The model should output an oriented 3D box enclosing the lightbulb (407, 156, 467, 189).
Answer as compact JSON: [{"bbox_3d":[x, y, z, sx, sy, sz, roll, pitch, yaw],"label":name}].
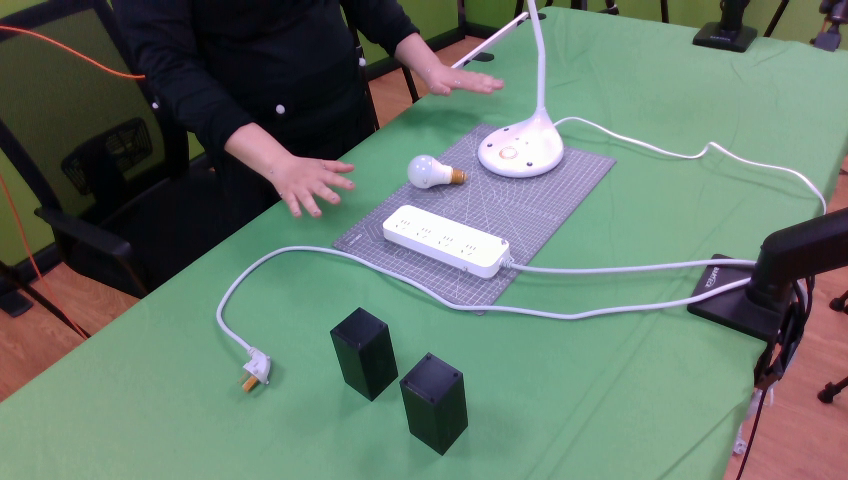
[{"bbox_3d":[0.024,-0.118,1.080,0.108,0.059,0.059,7,40,-6],"label":"lightbulb"}]

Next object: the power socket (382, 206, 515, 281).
[{"bbox_3d":[0.032,0.002,0.950,0.225,0.033,0.072,21,49,29],"label":"power socket"}]

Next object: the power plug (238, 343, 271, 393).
[{"bbox_3d":[-0.229,0.172,0.800,0.072,0.035,0.053,7,50,50],"label":"power plug"}]

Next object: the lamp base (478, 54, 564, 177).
[{"bbox_3d":[0.180,-0.232,1.090,0.159,0.181,0.180,21,45,30],"label":"lamp base"}]
